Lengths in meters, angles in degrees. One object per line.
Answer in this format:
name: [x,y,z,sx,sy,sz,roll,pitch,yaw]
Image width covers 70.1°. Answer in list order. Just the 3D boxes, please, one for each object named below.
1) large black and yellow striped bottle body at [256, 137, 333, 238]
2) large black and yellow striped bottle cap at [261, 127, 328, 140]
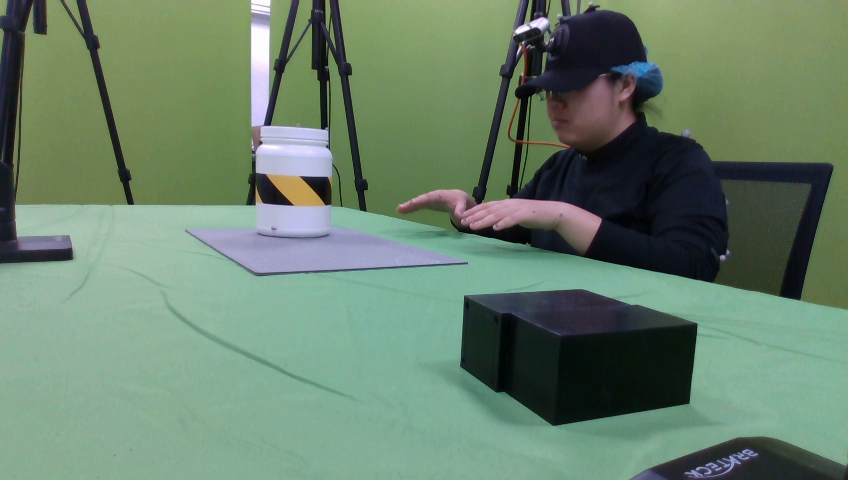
large black and yellow striped bottle body: [-0.228,-0.102,1.063,0.131,0.184,0.130,3,8,0]
large black and yellow striped bottle cap: [-0.224,-0.184,1.051,0.115,0.019,0.115,2,7,0]
